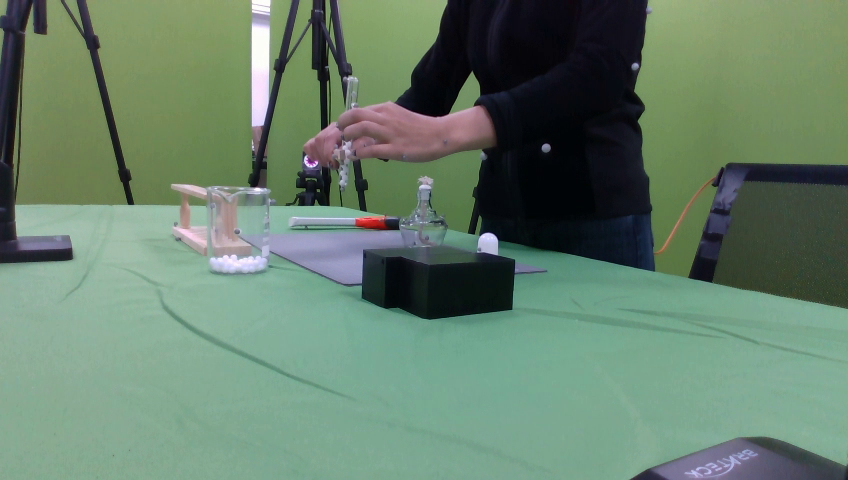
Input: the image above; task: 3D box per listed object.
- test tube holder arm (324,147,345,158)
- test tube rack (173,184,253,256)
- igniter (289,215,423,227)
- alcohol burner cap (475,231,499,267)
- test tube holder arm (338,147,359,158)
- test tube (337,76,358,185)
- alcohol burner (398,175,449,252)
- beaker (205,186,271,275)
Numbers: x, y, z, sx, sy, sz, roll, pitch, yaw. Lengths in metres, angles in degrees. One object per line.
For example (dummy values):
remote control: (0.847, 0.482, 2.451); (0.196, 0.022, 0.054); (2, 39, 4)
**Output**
test tube holder arm: (-0.134, -0.130, 0.898); (0.013, 0.015, 0.178); (1, 8, -18)
test tube rack: (-0.329, -0.036, 0.927); (0.067, 0.085, 0.241); (-2, 9, -32)
igniter: (-0.133, -0.038, 1.231); (0.278, 0.025, 0.057); (-1, -2, -25)
alcohol burner cap: (0.088, 0.012, 0.830); (0.034, 0.048, 0.034); (2, 6, 0)
test tube holder arm: (-0.113, -0.124, 0.859); (0.010, 0.015, 0.087); (-2, 9, -29)
test tube: (-0.105, -0.150, 0.835); (0.017, 0.150, 0.017); (6, 3, 0)
alcohol burner: (-0.001, -0.041, 0.937); (0.078, 0.119, 0.078); (0, 8, 0)
beaker: (-0.221, -0.012, 0.717); (0.074, 0.100, 0.084); (2, 8, -3)
